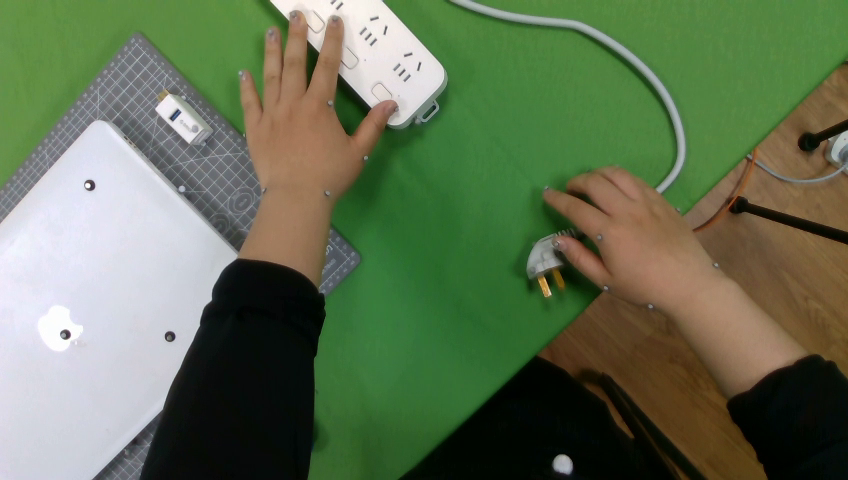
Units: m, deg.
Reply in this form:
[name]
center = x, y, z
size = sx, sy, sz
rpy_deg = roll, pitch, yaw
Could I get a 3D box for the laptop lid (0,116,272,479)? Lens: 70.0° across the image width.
[laptop lid]
center = -0.344, 0.085, 0.584
size = 0.357, 0.013, 0.242
rpy_deg = -42, 94, 8

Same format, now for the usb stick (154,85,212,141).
[usb stick]
center = -0.226, -0.119, 0.556
size = 0.021, 0.027, 0.059
rpy_deg = -44, 89, 10

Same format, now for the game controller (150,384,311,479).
[game controller]
center = -0.194, 0.213, 0.586
size = 0.155, 0.051, 0.097
rpy_deg = -43, 87, 8

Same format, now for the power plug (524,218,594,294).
[power plug]
center = 0.123, 0.014, 0.539
size = 0.072, 0.035, 0.052
rpy_deg = -26, 76, 19

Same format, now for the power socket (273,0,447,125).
[power socket]
center = -0.072, -0.197, 0.534
size = 0.072, 0.032, 0.227
rpy_deg = -43, 92, 10

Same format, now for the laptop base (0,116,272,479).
[laptop base]
center = -0.345, 0.082, 0.596
size = 0.354, 0.023, 0.236
rpy_deg = -44, 95, 8
